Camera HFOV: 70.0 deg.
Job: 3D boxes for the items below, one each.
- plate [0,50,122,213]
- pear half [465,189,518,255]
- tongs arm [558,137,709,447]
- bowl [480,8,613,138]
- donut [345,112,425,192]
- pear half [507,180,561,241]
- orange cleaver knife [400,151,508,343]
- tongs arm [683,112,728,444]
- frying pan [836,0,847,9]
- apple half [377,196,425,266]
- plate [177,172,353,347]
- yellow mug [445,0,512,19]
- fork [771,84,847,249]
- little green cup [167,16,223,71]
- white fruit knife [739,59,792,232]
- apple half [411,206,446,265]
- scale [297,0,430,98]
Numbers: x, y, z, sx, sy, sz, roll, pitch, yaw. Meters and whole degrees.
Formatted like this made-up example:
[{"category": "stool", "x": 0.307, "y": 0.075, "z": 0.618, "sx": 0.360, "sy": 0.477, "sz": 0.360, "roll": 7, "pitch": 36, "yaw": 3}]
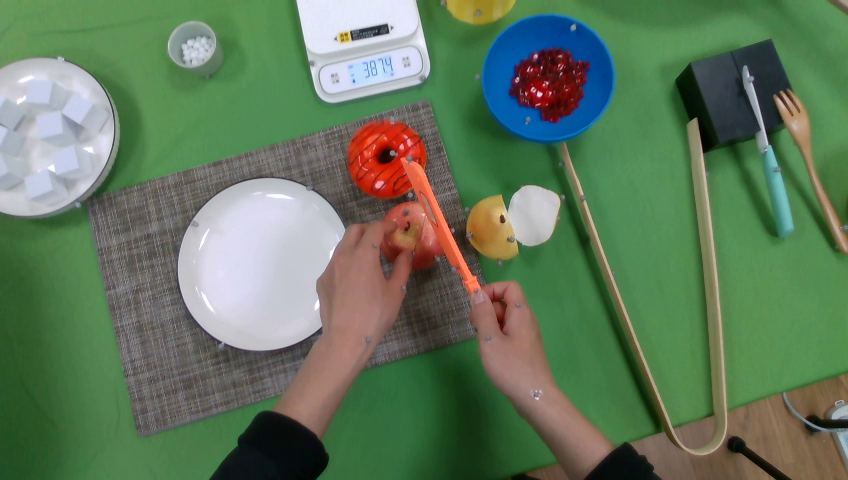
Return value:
[{"category": "plate", "x": -0.476, "y": -0.133, "z": 0.760, "sx": 0.207, "sy": 0.039, "sz": 0.207, "roll": 0, "pitch": 83, "yaw": 3}, {"category": "pear half", "x": 0.075, "y": -0.019, "z": 0.685, "sx": 0.056, "sy": 0.110, "sz": 0.076, "roll": -23, "pitch": 79, "yaw": 1}, {"category": "tongs arm", "x": 0.241, "y": 0.055, "z": 0.708, "sx": 0.051, "sy": 0.026, "sz": 0.383, "roll": -16, "pitch": 84, "yaw": -6}, {"category": "bowl", "x": 0.140, "y": -0.186, "z": 0.719, "sx": 0.151, "sy": 0.077, "sz": 0.151, "roll": 0, "pitch": 84, "yaw": 3}, {"category": "donut", "x": -0.048, "y": -0.106, "z": 0.730, "sx": 0.099, "sy": 0.048, "sz": 0.099, "roll": 0, "pitch": 84, "yaw": 4}, {"category": "pear half", "x": 0.135, "y": -0.038, "z": 0.708, "sx": 0.031, "sy": 0.088, "sz": 0.070, "roll": -19, "pitch": 80, "yaw": -40}, {"category": "orange cleaver knife", "x": 0.028, "y": 0.006, "z": 0.606, "sx": 0.012, "sy": 0.077, "sz": 0.212, "roll": -28, "pitch": 97, "yaw": -7}, {"category": "tongs arm", "x": 0.326, "y": 0.038, "z": 0.712, "sx": 0.028, "sy": 0.028, "sz": 0.386, "roll": -1, "pitch": 83, "yaw": -7}, {"category": "frying pan", "x": 0.385, "y": -0.375, "z": 0.717, "sx": 0.307, "sy": 0.103, "sz": 0.485, "roll": -43, "pitch": 75, "yaw": -2}, {"category": "apple half", "x": -0.026, "y": -0.014, "z": 0.704, "sx": 0.053, "sy": 0.075, "sz": 0.080, "roll": 17, "pitch": 87, "yaw": 8}, {"category": "plate", "x": -0.185, "y": 0.023, "z": 0.724, "sx": 0.209, "sy": 0.038, "sz": 0.208, "roll": 0, "pitch": 83, "yaw": 3}, {"category": "yellow mug", "x": 0.056, "y": -0.345, "z": 0.747, "sx": 0.130, "sy": 0.064, "sz": 0.100, "roll": 41, "pitch": 87, "yaw": 7}, {"category": "fork", "x": 0.450, "y": -0.083, "z": 0.700, "sx": 0.028, "sy": 0.018, "sz": 0.208, "roll": -26, "pitch": 98, "yaw": -3}, {"category": "little green cup", "x": -0.286, "y": -0.245, "z": 0.765, "sx": 0.061, "sy": 0.039, "sz": 0.061, "roll": 0, "pitch": 83, "yaw": 3}, {"category": "white fruit knife", "x": 0.391, "y": -0.106, "z": 0.697, "sx": 0.016, "sy": 0.027, "sz": 0.208, "roll": -19, "pitch": 97, "yaw": 0}, {"category": "apple half", "x": 0.011, "y": -0.004, "z": 0.700, "sx": 0.033, "sy": 0.081, "sz": 0.081, "roll": 16, "pitch": 84, "yaw": 8}, {"category": "scale", "x": -0.082, "y": -0.289, "z": 0.764, "sx": 0.148, "sy": 0.031, "sz": 0.200, "roll": -12, "pitch": 83, "yaw": 2}]
